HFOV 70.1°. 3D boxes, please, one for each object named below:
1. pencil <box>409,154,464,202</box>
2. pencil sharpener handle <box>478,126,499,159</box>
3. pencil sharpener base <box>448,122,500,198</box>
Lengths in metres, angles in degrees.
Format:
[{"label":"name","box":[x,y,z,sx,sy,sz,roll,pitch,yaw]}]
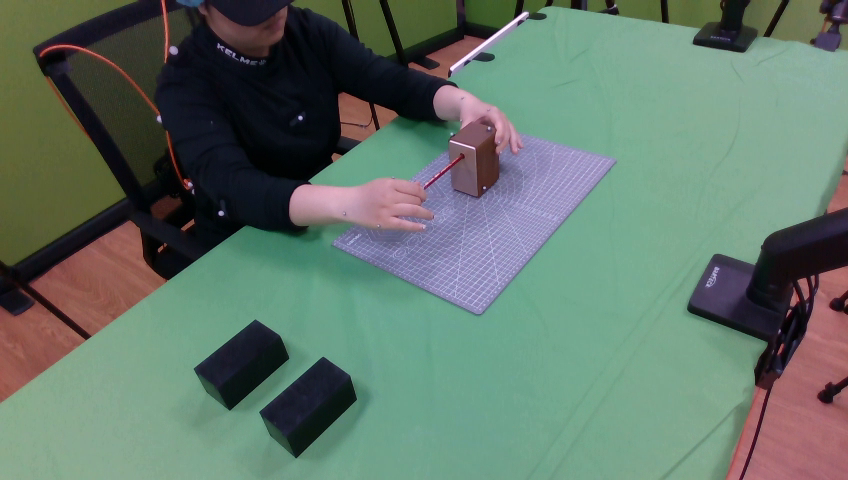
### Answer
[{"label":"pencil","box":[0.036,-0.116,0.988,0.012,0.012,0.194,21,47,30]},{"label":"pencil sharpener handle","box":[0.119,-0.177,1.073,0.035,0.068,0.031,21,47,32]},{"label":"pencil sharpener base","box":[0.090,-0.140,1.052,0.061,0.107,0.077,22,48,31]}]
